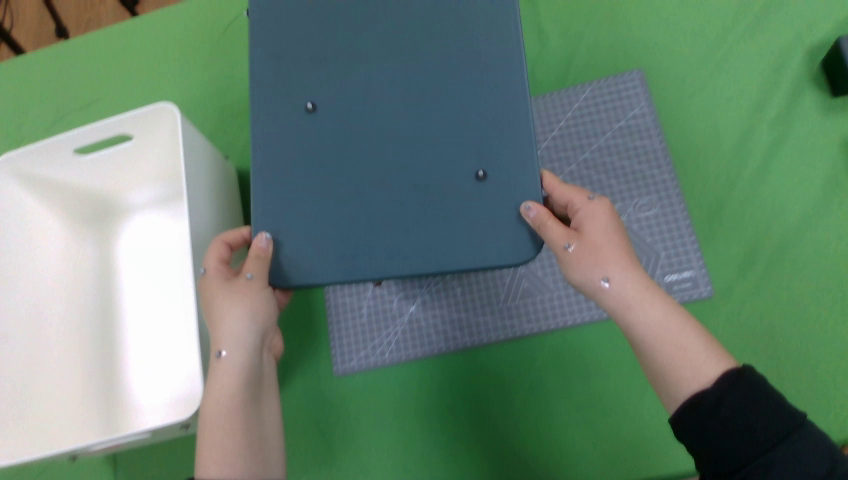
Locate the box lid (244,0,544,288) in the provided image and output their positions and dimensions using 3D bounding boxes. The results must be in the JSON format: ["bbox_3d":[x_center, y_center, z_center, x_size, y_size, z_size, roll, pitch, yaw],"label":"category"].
[{"bbox_3d":[-0.039,-0.147,0.568,0.263,0.015,0.369,-6,76,4],"label":"box lid"}]

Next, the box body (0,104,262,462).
[{"bbox_3d":[-0.356,0.056,0.731,0.254,0.161,0.361,-16,71,6],"label":"box body"}]

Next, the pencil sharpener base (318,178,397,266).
[{"bbox_3d":[-0.076,-0.015,0.722,0.061,0.108,0.076,-13,72,7],"label":"pencil sharpener base"}]

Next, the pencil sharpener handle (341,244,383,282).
[{"bbox_3d":[-0.067,0.028,0.694,0.036,0.068,0.030,-17,71,20],"label":"pencil sharpener handle"}]
